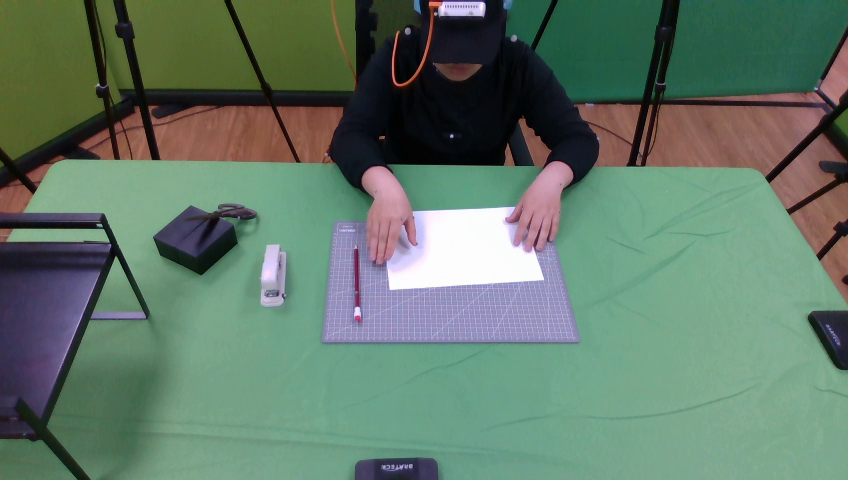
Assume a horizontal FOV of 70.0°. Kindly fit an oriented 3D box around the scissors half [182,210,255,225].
[{"bbox_3d":[-0.389,-0.042,1.158,0.040,0.013,0.175,41,21,22],"label":"scissors half"}]

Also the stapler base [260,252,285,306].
[{"bbox_3d":[-0.279,0.064,1.113,0.041,0.024,0.129,-2,44,-9],"label":"stapler base"}]

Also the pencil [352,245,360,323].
[{"bbox_3d":[-0.127,0.076,1.120,0.012,0.012,0.192,-2,44,-7],"label":"pencil"}]

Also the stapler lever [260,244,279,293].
[{"bbox_3d":[-0.279,0.045,1.096,0.027,0.040,0.117,-2,44,-9],"label":"stapler lever"}]

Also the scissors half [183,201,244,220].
[{"bbox_3d":[-0.405,-0.054,1.163,0.040,0.013,0.175,30,18,7],"label":"scissors half"}]
